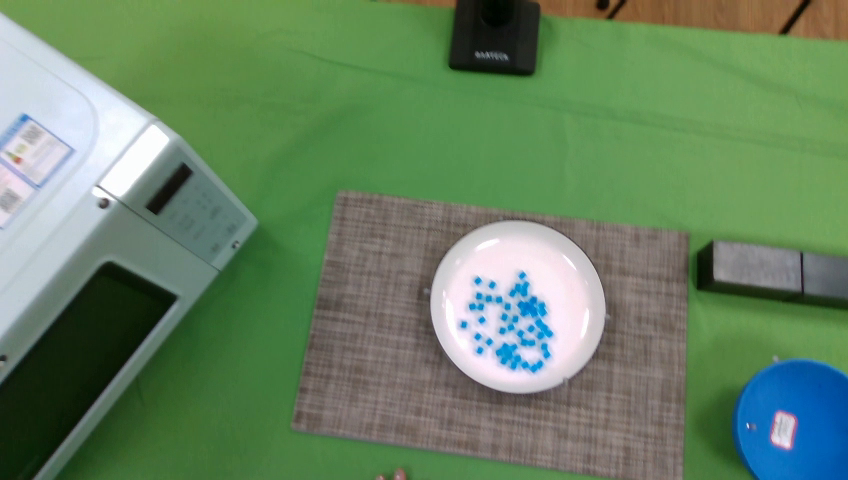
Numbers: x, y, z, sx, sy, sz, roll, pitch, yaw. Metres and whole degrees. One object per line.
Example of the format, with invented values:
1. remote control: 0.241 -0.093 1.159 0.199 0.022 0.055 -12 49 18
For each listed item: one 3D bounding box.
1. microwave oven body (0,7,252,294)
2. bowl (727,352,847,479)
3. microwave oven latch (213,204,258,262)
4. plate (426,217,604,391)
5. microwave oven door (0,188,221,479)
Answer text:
1. microwave oven body: -0.466 0.019 0.645 0.325 0.261 0.441 34 78 11
2. bowl: 0.397 0.201 0.659 0.151 0.077 0.150 -1 73 2
3. microwave oven latch: -0.239 -0.012 0.748 0.030 0.029 0.079 36 78 11
4. plate: 0.106 0.076 0.724 0.207 0.039 0.206 0 73 2
5. microwave oven door: -0.371 0.129 0.603 0.039 0.245 0.355 33 77 12
